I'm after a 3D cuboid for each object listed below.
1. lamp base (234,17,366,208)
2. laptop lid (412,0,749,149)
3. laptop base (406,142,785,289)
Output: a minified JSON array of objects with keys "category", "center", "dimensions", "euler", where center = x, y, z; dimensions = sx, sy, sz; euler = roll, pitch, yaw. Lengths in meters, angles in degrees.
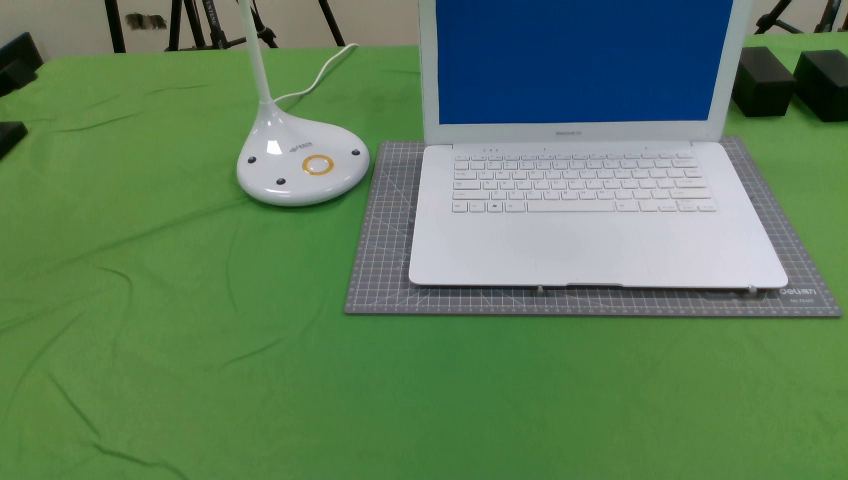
[{"category":"lamp base","center":[-0.164,-0.154,0.696],"dimensions":[0.177,0.182,0.160],"euler":[28,50,34]},{"category":"laptop lid","center":[0.165,-0.207,0.672],"dimensions":[0.356,0.244,0.013],"euler":[-2,34,5]},{"category":"laptop base","center":[0.164,-0.030,0.651],"dimensions":[0.354,0.023,0.233],"euler":[0,45,4]}]
